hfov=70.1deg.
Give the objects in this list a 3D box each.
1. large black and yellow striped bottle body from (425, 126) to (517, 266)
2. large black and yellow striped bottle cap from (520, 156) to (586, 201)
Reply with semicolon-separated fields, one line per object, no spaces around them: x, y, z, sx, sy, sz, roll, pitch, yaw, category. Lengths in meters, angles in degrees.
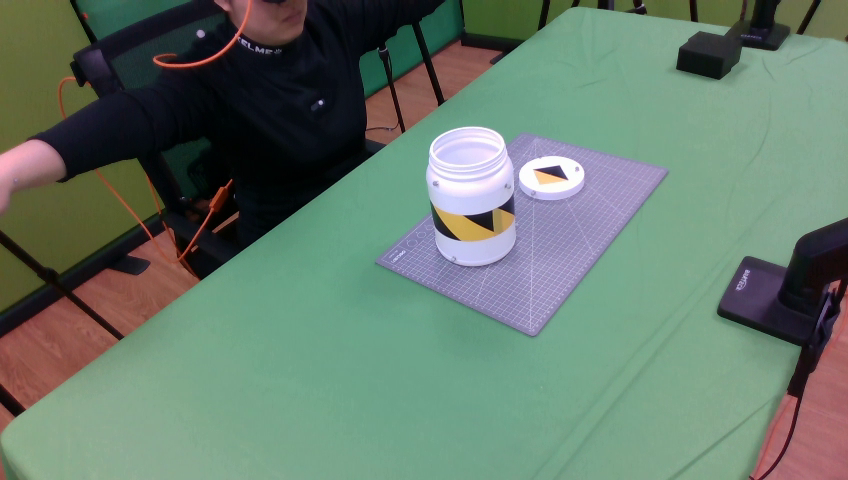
0.072;-0.066;0.917;0.131;0.185;0.130;-5;40;5;large black and yellow striped bottle body
0.228;-0.111;1.072;0.115;0.019;0.114;-6;40;6;large black and yellow striped bottle cap
